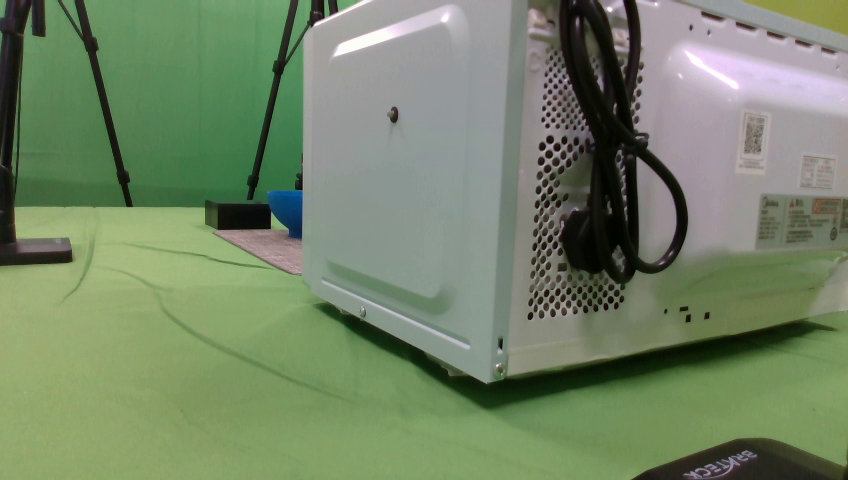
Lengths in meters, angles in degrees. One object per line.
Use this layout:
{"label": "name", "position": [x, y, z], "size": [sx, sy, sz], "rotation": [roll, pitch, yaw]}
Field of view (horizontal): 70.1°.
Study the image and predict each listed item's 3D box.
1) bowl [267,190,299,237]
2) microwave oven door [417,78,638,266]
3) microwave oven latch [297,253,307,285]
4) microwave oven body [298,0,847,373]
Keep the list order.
{"label": "bowl", "position": [-0.202, -0.046, 1.070], "size": [0.151, 0.077, 0.151], "rotation": [3, 7, 0]}
{"label": "microwave oven door", "position": [0.131, -0.105, 0.892], "size": [0.354, 0.243, 0.039], "rotation": [9, 10, 42]}
{"label": "microwave oven latch", "position": [-0.082, 0.027, 0.583], "size": [0.079, 0.029, 0.030], "rotation": [-1, 7, -33]}
{"label": "microwave oven body", "position": [0.151, -0.055, 0.543], "size": [0.444, 0.260, 0.324], "rotation": [-1, 7, -33]}
